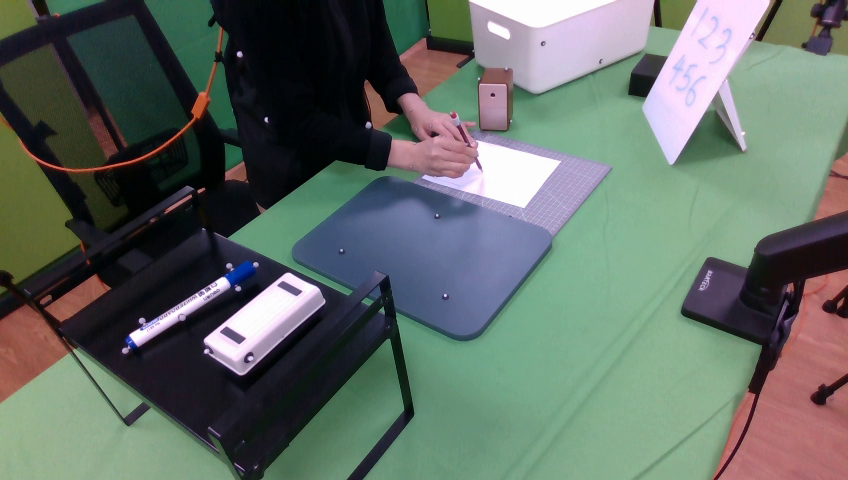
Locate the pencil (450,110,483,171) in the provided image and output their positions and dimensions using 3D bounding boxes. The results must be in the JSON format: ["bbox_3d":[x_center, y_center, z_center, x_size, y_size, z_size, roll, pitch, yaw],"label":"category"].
[{"bbox_3d":[0.076,-0.161,1.020,0.012,0.195,0.012,-8,65,18],"label":"pencil"}]

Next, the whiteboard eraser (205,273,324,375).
[{"bbox_3d":[-0.157,0.084,0.605,0.055,0.042,0.113,24,49,30],"label":"whiteboard eraser"}]

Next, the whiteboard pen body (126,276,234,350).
[{"bbox_3d":[-0.251,0.071,0.649,0.141,0.017,0.017,-36,48,-26],"label":"whiteboard pen body"}]

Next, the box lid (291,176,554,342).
[{"bbox_3d":[-0.005,0.011,0.972,0.368,0.015,0.264,21,49,30],"label":"box lid"}]

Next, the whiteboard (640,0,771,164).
[{"bbox_3d":[0.543,-0.299,1.076,0.144,0.305,0.216,12,40,-7],"label":"whiteboard"}]

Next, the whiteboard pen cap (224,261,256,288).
[{"bbox_3d":[-0.207,0.039,0.677,0.033,0.018,0.018,-35,47,-18],"label":"whiteboard pen cap"}]

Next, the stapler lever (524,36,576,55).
[{"bbox_3d":[0.296,-0.456,1.418,0.117,0.040,0.027,4,40,17],"label":"stapler lever"}]

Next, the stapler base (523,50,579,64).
[{"bbox_3d":[0.301,-0.436,1.434,0.130,0.024,0.041,5,40,17],"label":"stapler base"}]

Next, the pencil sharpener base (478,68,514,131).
[{"bbox_3d":[0.148,-0.286,1.225,0.061,0.107,0.076,5,41,15],"label":"pencil sharpener base"}]

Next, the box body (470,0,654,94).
[{"bbox_3d":[0.319,-0.498,1.405,0.365,0.161,0.252,-26,43,-21],"label":"box body"}]

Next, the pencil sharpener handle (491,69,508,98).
[{"bbox_3d":[0.155,-0.329,1.254,0.036,0.068,0.030,17,43,3],"label":"pencil sharpener handle"}]
